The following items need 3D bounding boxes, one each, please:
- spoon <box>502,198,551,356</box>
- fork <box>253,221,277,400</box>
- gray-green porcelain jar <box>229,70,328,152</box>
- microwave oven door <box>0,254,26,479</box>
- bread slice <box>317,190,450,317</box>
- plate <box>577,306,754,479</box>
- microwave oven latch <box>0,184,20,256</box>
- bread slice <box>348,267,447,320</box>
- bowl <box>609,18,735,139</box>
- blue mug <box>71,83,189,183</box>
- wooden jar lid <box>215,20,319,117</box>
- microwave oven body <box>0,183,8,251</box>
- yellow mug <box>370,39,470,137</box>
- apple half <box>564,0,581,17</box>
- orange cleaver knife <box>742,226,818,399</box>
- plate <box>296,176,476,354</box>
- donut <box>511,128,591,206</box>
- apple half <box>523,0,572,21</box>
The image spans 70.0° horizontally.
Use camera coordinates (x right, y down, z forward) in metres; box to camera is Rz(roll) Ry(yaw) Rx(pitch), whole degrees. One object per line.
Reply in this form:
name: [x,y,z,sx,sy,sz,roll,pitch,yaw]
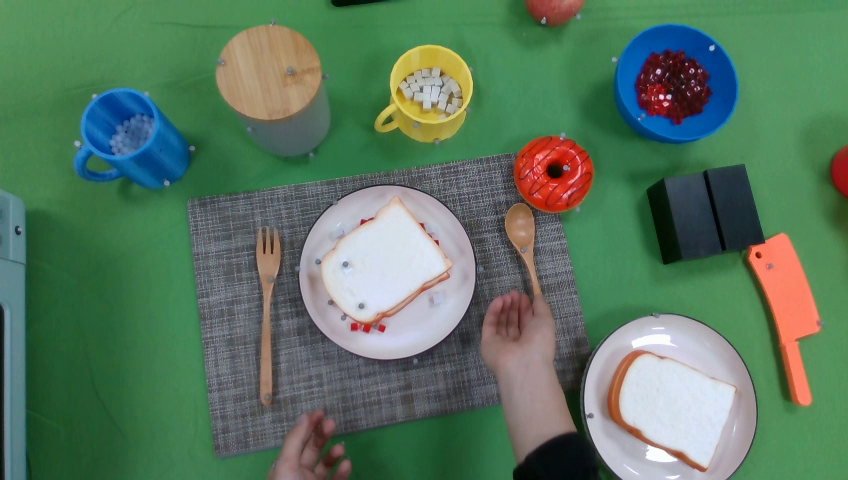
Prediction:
spoon: [0.128,0.044,0.731,0.042,0.021,0.193,-7,79,-27]
fork: [-0.185,0.080,0.705,0.028,0.018,0.206,0,78,-11]
gray-green porcelain jar: [-0.168,-0.166,0.701,0.106,0.127,0.105,1,79,-3]
microwave oven door: [-0.445,0.174,0.544,0.039,0.244,0.354,-6,80,-4]
bread slice: [-0.051,0.024,0.690,0.134,0.018,0.106,-40,82,-11]
plate: [0.279,0.183,0.713,0.209,0.038,0.208,1,80,-3]
microwave oven latch: [-0.474,-0.022,0.680,0.030,0.029,0.079,-5,81,-5]
bread slice: [-0.053,0.032,0.716,0.131,0.019,0.104,-37,85,-10]
bowl: [0.297,-0.189,0.760,0.151,0.077,0.151,1,80,-3]
blue mug: [-0.340,-0.109,0.689,0.116,0.106,0.082,-35,83,-9]
wooden jar lid: [-0.164,-0.179,0.640,0.108,0.021,0.108,1,78,-3]
microwave oven body: [-0.595,0.148,0.544,0.326,0.261,0.440,-6,81,-5]
yellow mug: [-0.009,-0.177,0.744,0.131,0.064,0.099,-33,84,-8]
apple half: [0.175,-0.332,0.780,0.053,0.075,0.080,-42,81,-15]
orange cleaver knife: [0.452,0.087,0.751,0.077,0.012,0.210,-8,79,-12]
plate: [-0.044,0.030,0.715,0.208,0.039,0.207,1,80,-4]
donut: [0.155,-0.090,0.746,0.099,0.048,0.098,1,80,-4]
apple half: [0.147,-0.306,0.772,0.033,0.081,0.081,-43,84,-14]
